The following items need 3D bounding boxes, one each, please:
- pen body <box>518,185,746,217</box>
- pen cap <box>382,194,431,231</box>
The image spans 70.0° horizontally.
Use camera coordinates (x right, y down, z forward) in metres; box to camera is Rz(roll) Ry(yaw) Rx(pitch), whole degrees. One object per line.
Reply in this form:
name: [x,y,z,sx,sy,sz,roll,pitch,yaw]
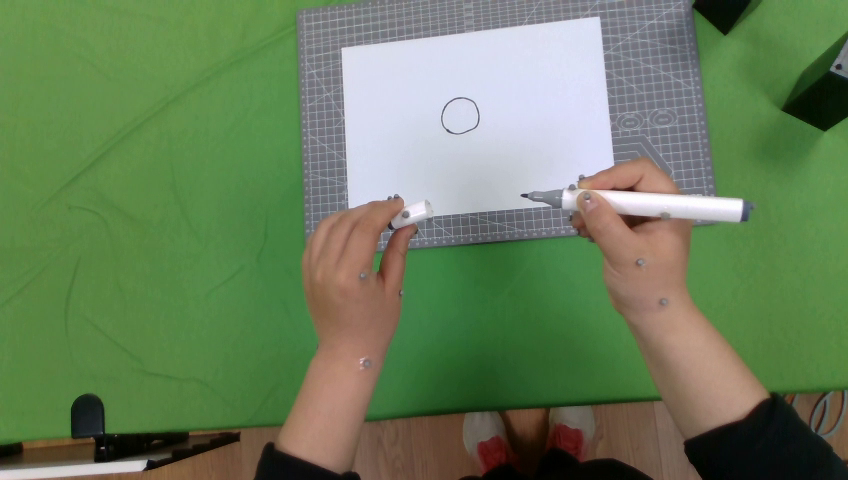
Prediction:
pen body: [0.134,-0.027,0.404,0.143,0.017,0.017,5,83,21]
pen cap: [-0.014,-0.020,0.473,0.038,0.017,0.017,-27,80,13]
